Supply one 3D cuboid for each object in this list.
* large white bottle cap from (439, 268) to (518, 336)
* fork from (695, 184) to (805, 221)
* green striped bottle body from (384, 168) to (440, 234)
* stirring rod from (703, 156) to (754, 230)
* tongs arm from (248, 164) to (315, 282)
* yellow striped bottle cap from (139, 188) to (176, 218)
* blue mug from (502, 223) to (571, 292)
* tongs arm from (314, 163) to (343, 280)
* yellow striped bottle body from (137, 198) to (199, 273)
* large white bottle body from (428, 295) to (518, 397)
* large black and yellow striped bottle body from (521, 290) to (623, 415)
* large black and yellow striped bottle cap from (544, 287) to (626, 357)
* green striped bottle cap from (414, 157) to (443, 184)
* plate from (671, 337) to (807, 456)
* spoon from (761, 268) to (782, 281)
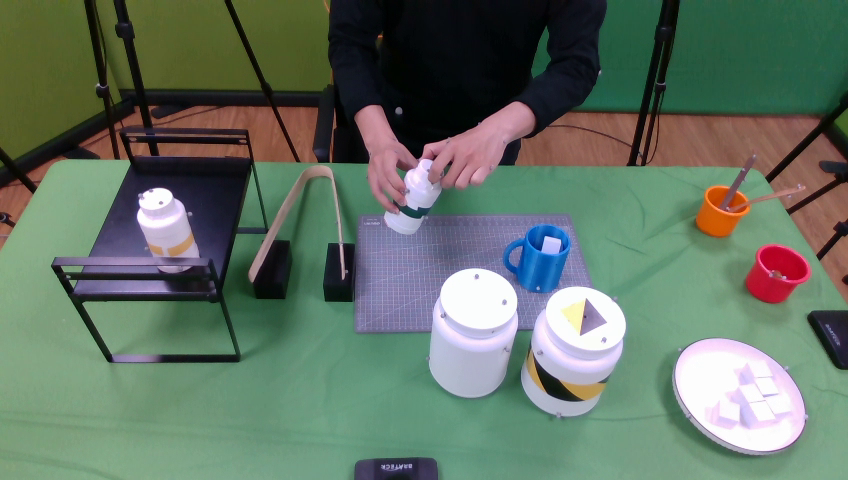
[{"bbox_3d":[0.080,0.089,0.888,0.115,0.018,0.114,2,47,-2],"label":"large white bottle cap"},{"bbox_3d":[0.657,-0.075,1.230,0.207,0.019,0.028,-23,34,37],"label":"fork"},{"bbox_3d":[-0.016,-0.070,0.984,0.063,0.119,0.063,18,41,-16],"label":"green striped bottle body"},{"bbox_3d":[0.631,-0.098,1.258,0.014,0.006,0.176,33,95,29],"label":"stirring rod"},{"bbox_3d":[-0.269,-0.047,1.166,0.028,0.028,0.385,-1,34,7],"label":"tongs arm"},{"bbox_3d":[-0.363,-0.051,0.826,0.044,0.019,0.044,1,47,0],"label":"yellow striped bottle cap"},{"bbox_3d":[0.202,0.031,1.121,0.116,0.106,0.082,5,47,1],"label":"blue mug"},{"bbox_3d":[-0.188,-0.049,1.170,0.051,0.026,0.382,-6,35,-6],"label":"tongs arm"},{"bbox_3d":[-0.366,-0.014,0.864,0.063,0.121,0.062,2,46,-2],"label":"yellow striped bottle body"},{"bbox_3d":[0.075,0.147,0.950,0.131,0.185,0.130,2,47,-2],"label":"large white bottle body"},{"bbox_3d":[0.228,0.173,0.938,0.131,0.185,0.130,2,47,-2],"label":"large black and yellow striped bottle body"},{"bbox_3d":[0.232,0.116,0.876,0.115,0.019,0.114,2,46,-1],"label":"large black and yellow striped bottle cap"},{"bbox_3d":[0.007,-0.109,0.949,0.044,0.020,0.044,19,42,-18],"label":"green striped bottle cap"},{"bbox_3d":[0.504,0.253,0.984,0.208,0.039,0.206,2,46,-2],"label":"plate"},{"bbox_3d":[0.638,0.060,1.105,0.041,0.021,0.194,38,11,24],"label":"spoon"}]
